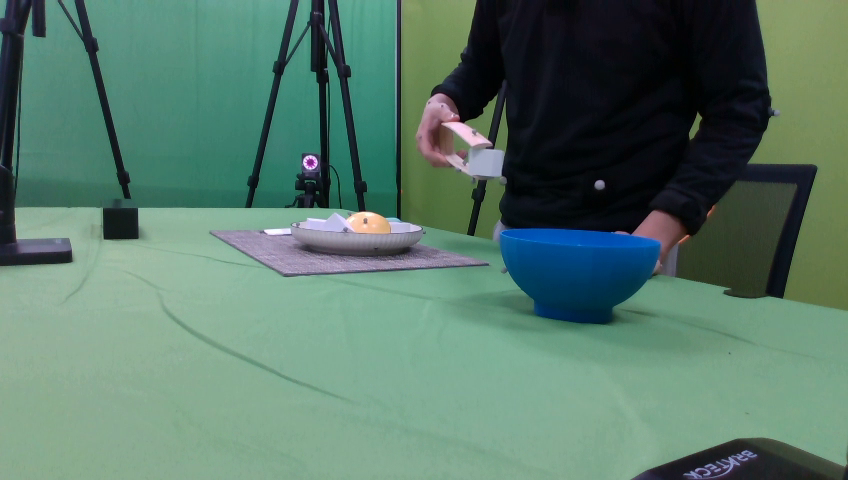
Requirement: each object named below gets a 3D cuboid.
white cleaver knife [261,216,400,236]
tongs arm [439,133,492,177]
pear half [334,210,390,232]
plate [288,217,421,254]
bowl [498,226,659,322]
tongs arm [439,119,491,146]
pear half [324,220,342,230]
[{"bbox_3d":[-0.169,-0.021,1.156,0.288,0.021,0.065,-7,20,-33],"label":"white cleaver knife"},{"bbox_3d":[0.054,-0.133,0.895,0.026,0.051,0.384,-6,11,-3],"label":"tongs arm"},{"bbox_3d":[-0.107,-0.017,0.920,0.110,0.056,0.076,-5,5,-20],"label":"pear half"},{"bbox_3d":[-0.109,-0.007,0.956,0.208,0.039,0.207,2,7,0],"label":"plate"},{"bbox_3d":[0.145,0.032,0.583,0.151,0.077,0.151,2,7,0],"label":"bowl"},{"bbox_3d":[0.052,-0.157,0.889,0.028,0.028,0.387,-9,15,-2],"label":"tongs arm"},{"bbox_3d":[-0.126,-0.019,1.001,0.088,0.031,0.070,8,4,0],"label":"pear half"}]
